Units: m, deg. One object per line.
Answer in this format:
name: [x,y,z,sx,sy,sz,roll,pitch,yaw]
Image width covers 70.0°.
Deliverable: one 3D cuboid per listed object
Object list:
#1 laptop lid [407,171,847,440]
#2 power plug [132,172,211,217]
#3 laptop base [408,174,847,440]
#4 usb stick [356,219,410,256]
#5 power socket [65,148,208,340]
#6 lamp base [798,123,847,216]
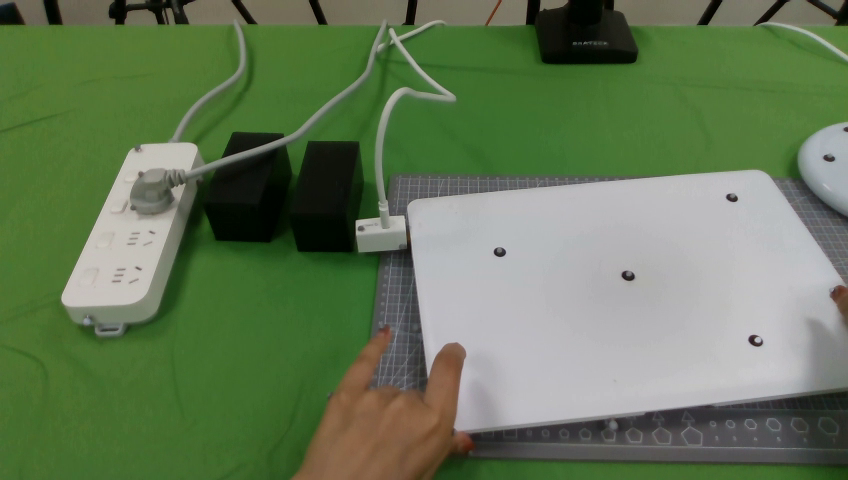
laptop lid: [0.170,0.035,0.502,0.357,0.013,0.239,-4,49,-3]
power plug: [-0.228,-0.034,0.550,0.072,0.053,0.035,6,47,7]
laptop base: [0.170,0.041,0.512,0.355,0.023,0.233,-5,50,-4]
usb stick: [-0.031,-0.003,0.541,0.059,0.027,0.021,-3,41,-7]
power socket: [-0.257,-0.010,0.560,0.072,0.033,0.224,-1,46,-1]
lamp base: [0.463,-0.123,0.550,0.159,0.182,0.179,31,51,27]
